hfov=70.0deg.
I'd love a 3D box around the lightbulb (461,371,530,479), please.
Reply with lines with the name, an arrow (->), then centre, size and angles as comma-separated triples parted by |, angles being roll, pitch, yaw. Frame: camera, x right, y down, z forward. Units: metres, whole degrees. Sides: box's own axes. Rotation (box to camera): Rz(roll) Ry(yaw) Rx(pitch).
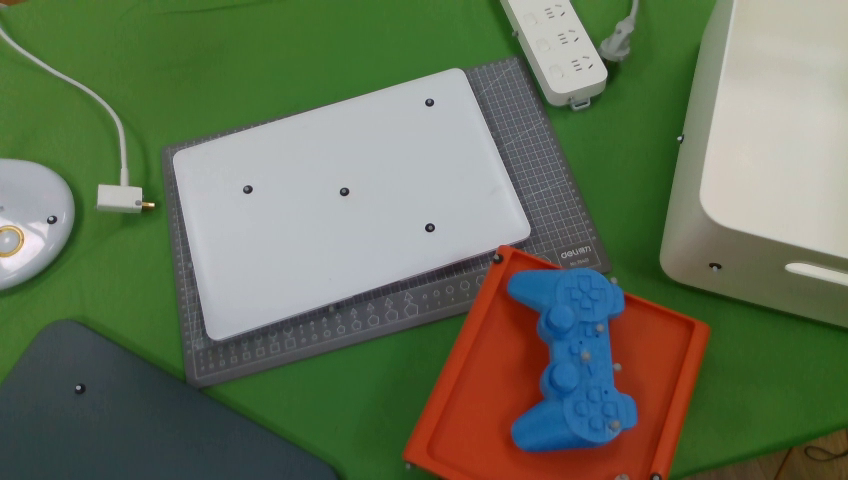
lightbulb -> 0.063, 0.165, 0.539 | 0.059, 0.060, 0.106 | 0, 47, 4

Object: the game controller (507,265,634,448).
game controller -> 0.120, 0.092, 0.503 | 0.097, 0.052, 0.154 | 3, 67, 0

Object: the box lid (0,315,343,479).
box lid -> -0.288, 0.251, 0.567 | 0.370, 0.015, 0.262 | 25, 71, 12

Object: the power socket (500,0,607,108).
power socket -> 0.151, -0.261, 0.741 | 0.072, 0.033, 0.225 | -17, 67, -5

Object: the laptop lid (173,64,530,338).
laptop lid -> -0.087, -0.054, 0.664 | 0.357, 0.013, 0.240 | -17, 70, -3

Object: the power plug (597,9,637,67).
power plug -> 0.237, -0.236, 0.723 | 0.072, 0.053, 0.035 | -34, 64, -29

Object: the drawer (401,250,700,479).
drawer -> 0.113, 0.139, 0.538 | 0.193, 0.074, 0.211 | 21, 68, 15

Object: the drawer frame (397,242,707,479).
drawer frame -> 0.113, 0.138, 0.539 | 0.201, 0.083, 0.212 | 22, 68, 13

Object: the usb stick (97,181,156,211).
usb stick -> -0.332, -0.048, 0.678 | 0.059, 0.021, 0.027 | 7, 68, -29

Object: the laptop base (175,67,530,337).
laptop base -> -0.086, -0.052, 0.676 | 0.354, 0.023, 0.233 | -18, 71, -4

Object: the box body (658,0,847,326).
box body -> 0.395, -0.113, 0.594 | 0.253, 0.161, 0.362 | 15, 69, 10

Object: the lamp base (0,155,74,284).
lamp base -> -0.490, -0.061, 0.618 | 0.160, 0.182, 0.178 | -43, 68, -14
